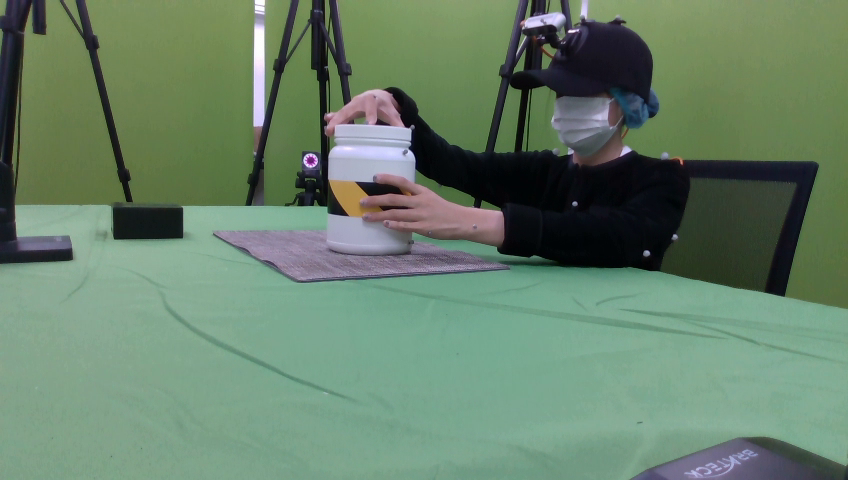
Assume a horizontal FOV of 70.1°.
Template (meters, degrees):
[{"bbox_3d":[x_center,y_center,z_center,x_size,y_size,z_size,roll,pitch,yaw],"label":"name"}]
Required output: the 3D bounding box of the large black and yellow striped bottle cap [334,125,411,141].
[{"bbox_3d":[-0.076,-0.157,0.895,0.115,0.019,0.115,2,5,0],"label":"large black and yellow striped bottle cap"}]

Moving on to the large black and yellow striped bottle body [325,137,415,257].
[{"bbox_3d":[-0.080,-0.074,0.906,0.131,0.184,0.130,3,7,0],"label":"large black and yellow striped bottle body"}]
